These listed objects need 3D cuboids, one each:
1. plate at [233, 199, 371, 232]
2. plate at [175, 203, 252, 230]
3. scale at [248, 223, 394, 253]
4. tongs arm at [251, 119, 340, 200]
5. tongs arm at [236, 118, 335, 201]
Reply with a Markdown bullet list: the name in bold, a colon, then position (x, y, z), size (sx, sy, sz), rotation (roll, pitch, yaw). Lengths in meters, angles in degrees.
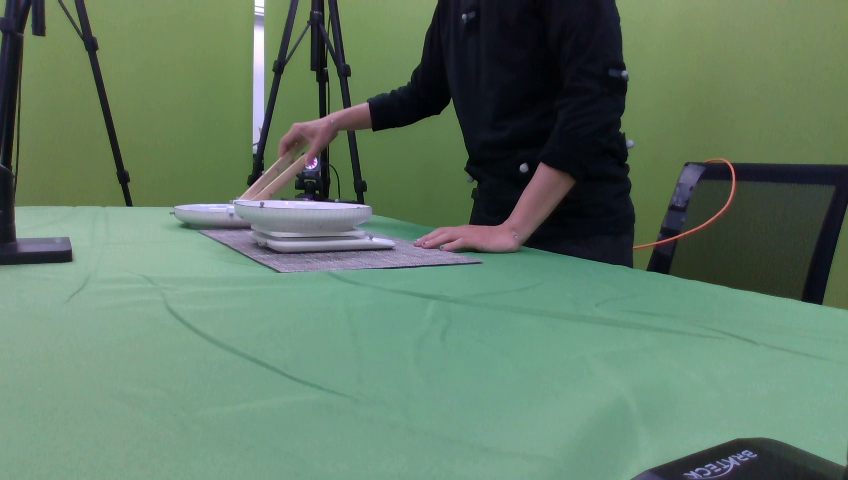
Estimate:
- **plate**: position (-0.188, -0.039, 0.939), size (0.209, 0.038, 0.209), rotation (2, 7, 0)
- **plate**: position (-0.381, -0.047, 1.199), size (0.208, 0.039, 0.207), rotation (3, 7, 0)
- **scale**: position (-0.162, -0.006, 0.954), size (0.202, 0.031, 0.148), rotation (-2, 8, -32)
- **tongs arm**: position (-0.284, -0.178, 1.367), size (0.028, 0.028, 0.388), rotation (2, 37, 26)
- **tongs arm**: position (-0.305, -0.180, 1.376), size (0.050, 0.026, 0.385), rotation (3, 37, 21)
